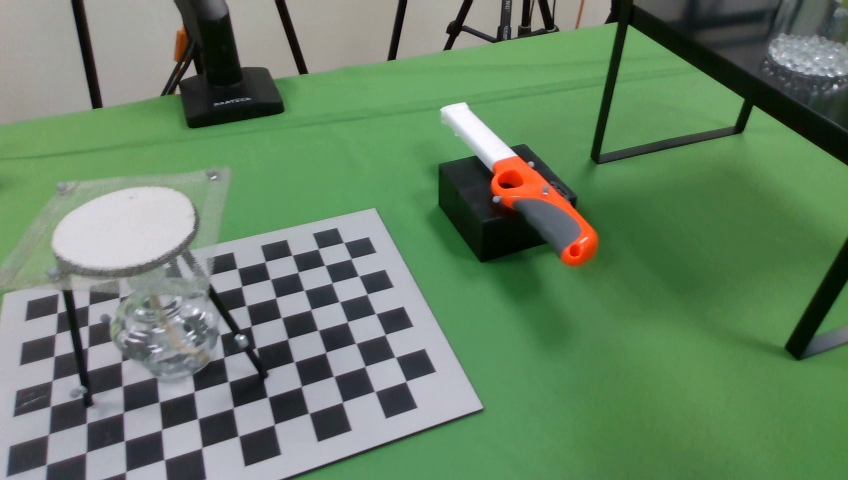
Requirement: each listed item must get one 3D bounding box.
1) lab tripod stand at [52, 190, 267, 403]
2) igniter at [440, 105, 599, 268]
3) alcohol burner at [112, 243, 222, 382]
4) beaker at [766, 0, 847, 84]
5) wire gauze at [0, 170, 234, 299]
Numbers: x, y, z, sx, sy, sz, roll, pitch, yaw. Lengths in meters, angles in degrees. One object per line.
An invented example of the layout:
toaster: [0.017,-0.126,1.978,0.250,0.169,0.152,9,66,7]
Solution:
lab tripod stand: [-0.190,0.042,0.439,0.148,0.132,0.147,2,40,-1]
igniter: [0.082,-0.063,0.578,0.057,0.025,0.273,-17,41,-15]
alcohol burner: [-0.193,0.049,0.445,0.078,0.120,0.077,-1,42,1]
beaker: [0.307,-0.174,0.450,0.073,0.101,0.084,25,48,26]
wire gauze: [-0.191,-0.007,0.392,0.125,0.011,0.120,-1,40,-4]
